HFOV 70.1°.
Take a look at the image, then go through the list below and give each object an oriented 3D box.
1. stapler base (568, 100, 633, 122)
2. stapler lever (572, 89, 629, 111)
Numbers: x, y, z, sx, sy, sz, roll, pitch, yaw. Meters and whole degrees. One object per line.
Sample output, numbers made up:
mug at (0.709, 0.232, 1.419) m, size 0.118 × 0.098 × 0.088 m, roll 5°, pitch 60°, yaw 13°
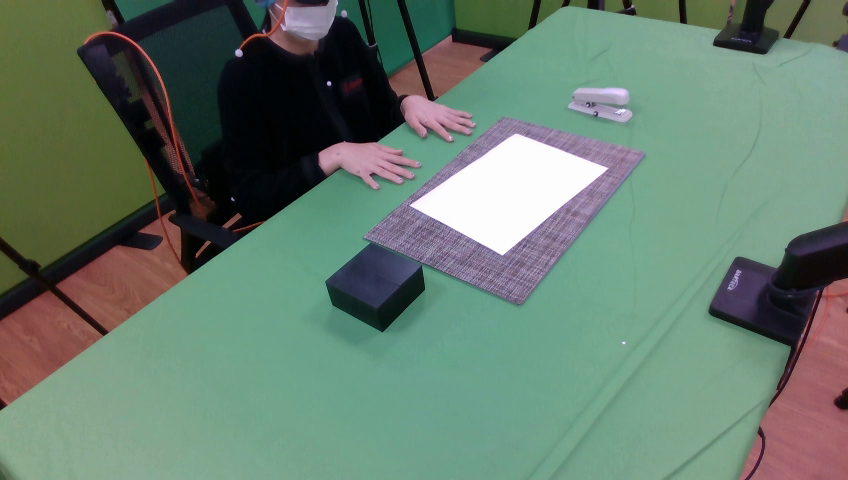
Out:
stapler base at (0.361, -0.273, 1.237) m, size 0.129 × 0.024 × 0.041 m, roll 24°, pitch 48°, yaw 34°
stapler lever at (0.357, -0.292, 1.222) m, size 0.117 × 0.040 × 0.027 m, roll 25°, pitch 49°, yaw 33°
